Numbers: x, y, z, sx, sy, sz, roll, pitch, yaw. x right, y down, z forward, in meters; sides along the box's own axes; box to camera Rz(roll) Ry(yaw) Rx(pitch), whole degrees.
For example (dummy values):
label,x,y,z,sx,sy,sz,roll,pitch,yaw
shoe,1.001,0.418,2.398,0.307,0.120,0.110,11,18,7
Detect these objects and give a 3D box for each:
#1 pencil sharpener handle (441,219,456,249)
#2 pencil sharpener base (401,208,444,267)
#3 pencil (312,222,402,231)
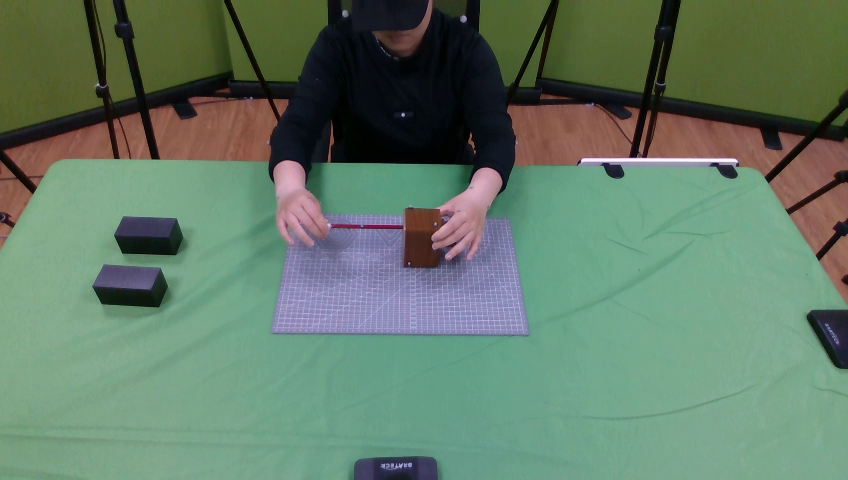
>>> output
label,x,y,z,sx,sy,sz,roll,pitch,yaw
pencil sharpener handle,0.048,-0.010,1.131,0.031,0.068,0.036,1,44,-4
pencil sharpener base,-0.004,-0.002,1.137,0.077,0.107,0.061,1,45,-4
pencil,-0.106,-0.023,1.111,0.194,0.012,0.012,2,45,-6
